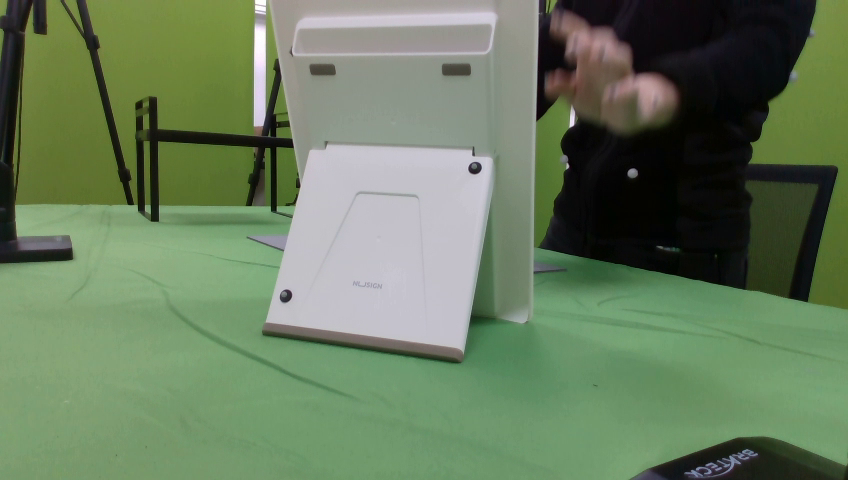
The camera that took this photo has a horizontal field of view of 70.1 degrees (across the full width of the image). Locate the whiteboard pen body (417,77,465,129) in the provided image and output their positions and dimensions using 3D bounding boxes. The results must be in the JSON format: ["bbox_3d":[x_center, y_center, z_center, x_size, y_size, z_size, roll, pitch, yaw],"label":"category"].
[{"bbox_3d":[0.022,-0.182,0.802,0.017,0.017,0.141,7,40,28],"label":"whiteboard pen body"}]

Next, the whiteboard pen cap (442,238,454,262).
[{"bbox_3d":[0.034,0.014,0.851,0.018,0.033,0.018,3,5,0],"label":"whiteboard pen cap"}]

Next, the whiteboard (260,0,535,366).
[{"bbox_3d":[-0.037,-0.040,0.457,0.216,0.305,0.144,5,28,19],"label":"whiteboard"}]
